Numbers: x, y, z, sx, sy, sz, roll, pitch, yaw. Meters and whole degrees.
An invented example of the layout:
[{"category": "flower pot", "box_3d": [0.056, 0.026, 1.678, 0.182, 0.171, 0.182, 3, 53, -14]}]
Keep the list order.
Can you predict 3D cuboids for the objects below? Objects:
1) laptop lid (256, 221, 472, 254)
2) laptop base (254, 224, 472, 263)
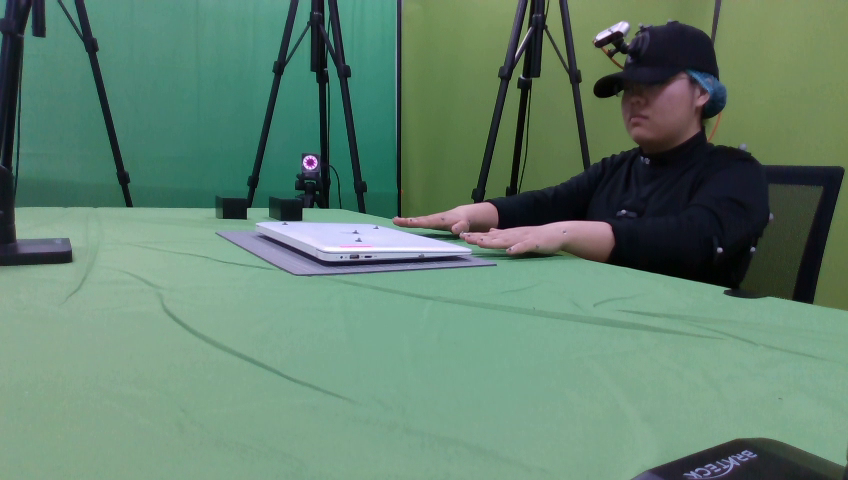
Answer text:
[{"category": "laptop lid", "box_3d": [-0.112, -0.007, 0.972, 0.243, 0.013, 0.355, 1, 7, -29]}, {"category": "laptop base", "box_3d": [-0.115, 0.005, 0.973, 0.237, 0.023, 0.352, 2, 6, -31]}]
